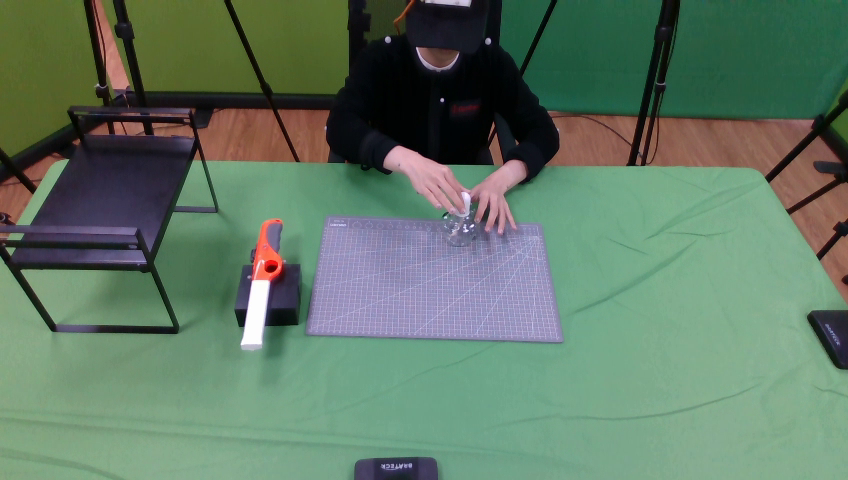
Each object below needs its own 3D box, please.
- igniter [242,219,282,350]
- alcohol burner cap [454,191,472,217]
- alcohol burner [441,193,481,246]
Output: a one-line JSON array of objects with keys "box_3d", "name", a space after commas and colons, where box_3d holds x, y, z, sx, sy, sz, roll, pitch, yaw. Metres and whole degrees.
[{"box_3d": [-0.277, 0.065, 1.044, 0.057, 0.025, 0.274, 1, 48, -6], "name": "igniter"}, {"box_3d": [0.076, -0.070, 1.150, 0.034, 0.048, 0.033, 2, 41, -2], "name": "alcohol burner cap"}, {"box_3d": [0.074, -0.046, 1.175, 0.078, 0.119, 0.077, 2, 44, -2], "name": "alcohol burner"}]
